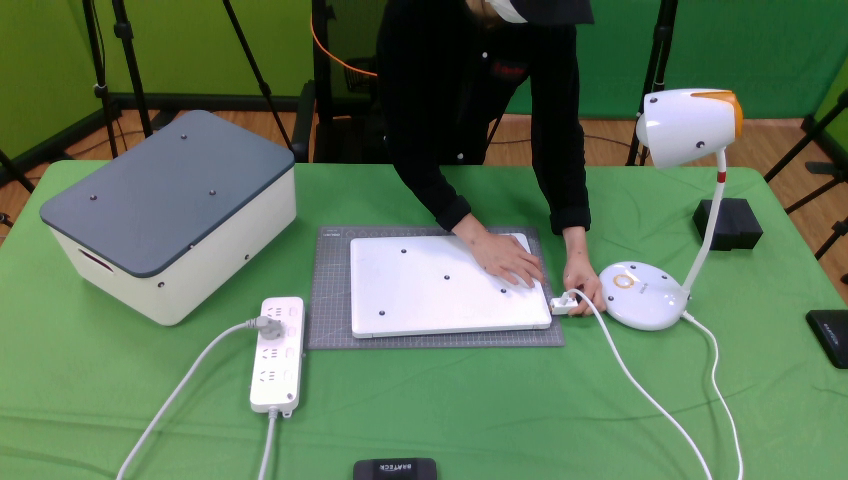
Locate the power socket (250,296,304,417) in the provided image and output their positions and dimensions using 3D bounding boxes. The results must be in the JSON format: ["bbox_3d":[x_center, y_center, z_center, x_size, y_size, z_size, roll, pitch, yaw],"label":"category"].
[{"bbox_3d":[-0.239,0.182,0.996,0.072,0.033,0.225,-2,47,-5],"label":"power socket"}]

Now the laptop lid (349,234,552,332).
[{"bbox_3d":[0.040,0.071,1.120,0.357,0.013,0.240,0,44,-6],"label":"laptop lid"}]

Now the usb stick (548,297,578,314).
[{"bbox_3d":[0.245,0.118,1.090,0.059,0.027,0.021,-5,51,-8],"label":"usb stick"}]

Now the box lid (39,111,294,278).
[{"bbox_3d":[-0.435,-0.097,1.055,0.262,0.015,0.370,25,49,18],"label":"box lid"}]

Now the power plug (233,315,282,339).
[{"bbox_3d":[-0.271,0.144,1.000,0.072,0.053,0.035,5,46,3],"label":"power plug"}]

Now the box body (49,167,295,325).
[{"bbox_3d":[-0.437,-0.046,1.110,0.253,0.161,0.363,24,49,18],"label":"box body"}]

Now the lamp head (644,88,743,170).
[{"bbox_3d":[0.379,-0.160,0.851,0.122,0.113,0.112,-4,42,25],"label":"lamp head"}]

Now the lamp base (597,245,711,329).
[{"bbox_3d":[0.417,0.051,1.071,0.179,0.181,0.160,22,49,13],"label":"lamp base"}]

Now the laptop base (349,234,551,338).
[{"bbox_3d":[0.040,0.080,1.126,0.355,0.023,0.234,-2,43,-6],"label":"laptop base"}]
